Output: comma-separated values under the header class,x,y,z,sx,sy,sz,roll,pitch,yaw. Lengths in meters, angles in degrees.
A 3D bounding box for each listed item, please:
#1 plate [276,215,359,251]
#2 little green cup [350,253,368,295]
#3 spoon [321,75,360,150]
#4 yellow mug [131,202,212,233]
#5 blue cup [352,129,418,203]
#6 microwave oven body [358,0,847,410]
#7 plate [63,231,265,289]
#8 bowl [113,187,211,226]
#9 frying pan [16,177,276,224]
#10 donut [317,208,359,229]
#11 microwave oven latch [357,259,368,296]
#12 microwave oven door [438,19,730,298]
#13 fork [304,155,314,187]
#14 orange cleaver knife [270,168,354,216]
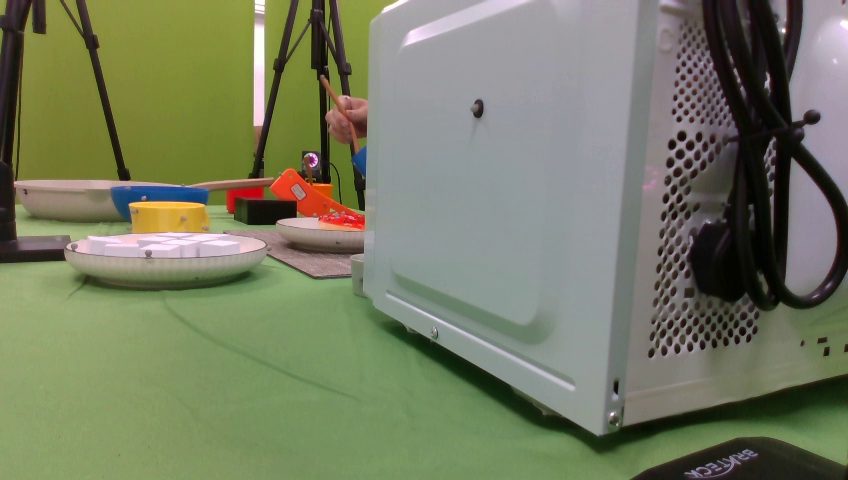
class,x,y,z,sx,sy,sz,roll,pitch,yaw
plate,-0.126,-0.012,0.950,0.209,0.038,0.209,2,7,0
little green cup,-0.048,0.035,0.632,0.061,0.038,0.061,3,6,0
spoon,-0.127,-0.193,1.035,0.021,0.194,0.041,-22,11,6
yellow mug,-0.356,-0.020,0.878,0.099,0.064,0.131,5,7,21
blue cup,-0.061,-0.121,1.038,0.093,0.100,0.092,-32,-11,-6
microwave oven body,0.210,-0.051,0.471,0.444,0.260,0.324,-1,7,-28
plate,-0.288,0.021,0.687,0.208,0.039,0.207,2,8,0
bowl,-0.436,-0.046,1.013,0.151,0.077,0.151,2,7,0
frying pan,-0.554,-0.097,1.266,0.490,0.102,0.305,-10,13,-24
donut,-0.118,-0.024,0.954,0.099,0.048,0.099,6,7,0
microwave oven latch,-0.019,0.031,0.528,0.079,0.029,0.030,-1,7,-25
microwave oven door,0.181,-0.076,0.618,0.358,0.243,0.039,-2,8,-28
fork,-0.268,-0.134,1.446,0.028,0.018,0.207,1,-36,-1
orange cleaver knife,-0.237,-0.084,1.332,0.212,0.077,0.012,31,-9,-31
